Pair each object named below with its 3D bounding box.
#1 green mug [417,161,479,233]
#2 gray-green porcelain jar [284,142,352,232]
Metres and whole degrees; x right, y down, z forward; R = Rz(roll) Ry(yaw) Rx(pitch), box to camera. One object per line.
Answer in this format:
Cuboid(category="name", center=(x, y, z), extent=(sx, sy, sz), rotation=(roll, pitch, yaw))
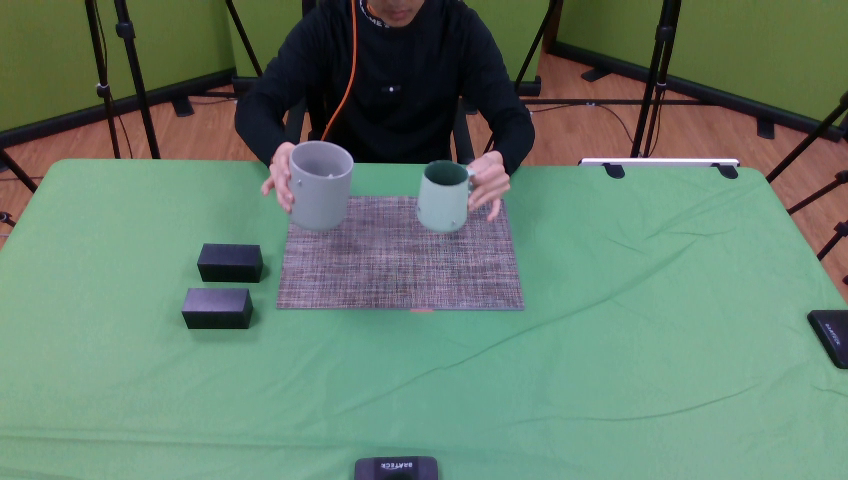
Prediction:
Cuboid(category="green mug", center=(0.048, -0.080, 1.075), extent=(0.125, 0.105, 0.092), rotation=(-28, 51, -32))
Cuboid(category="gray-green porcelain jar", center=(-0.182, -0.086, 1.032), extent=(0.106, 0.127, 0.105), rotation=(9, 41, -8))
